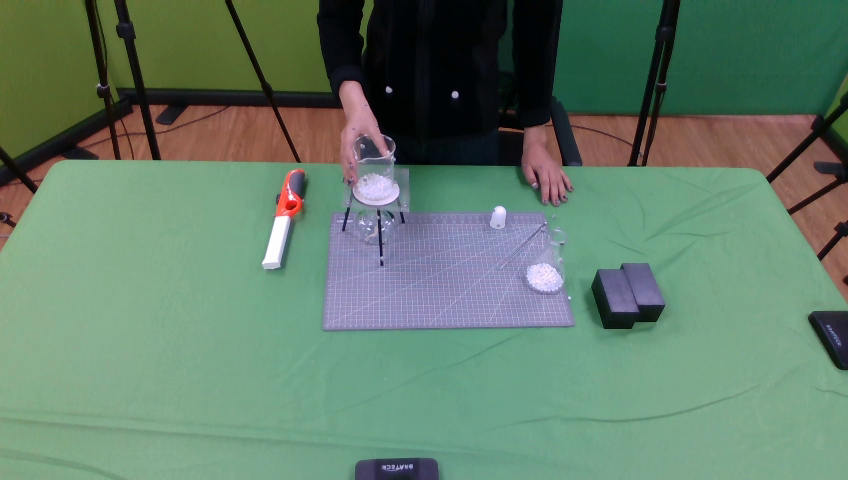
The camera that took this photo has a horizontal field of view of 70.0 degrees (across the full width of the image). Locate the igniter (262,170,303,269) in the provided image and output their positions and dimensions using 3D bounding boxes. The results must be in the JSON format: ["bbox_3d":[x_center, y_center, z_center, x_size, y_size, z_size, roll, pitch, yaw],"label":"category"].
[{"bbox_3d":[-0.283,-0.050,1.222,0.057,0.025,0.275,-4,45,6],"label":"igniter"}]

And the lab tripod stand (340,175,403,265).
[{"bbox_3d":[-0.094,-0.050,1.160,0.148,0.132,0.147,2,44,-2],"label":"lab tripod stand"}]

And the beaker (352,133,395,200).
[{"bbox_3d":[-0.091,-0.126,1.074,0.074,0.101,0.084,26,48,21],"label":"beaker"}]

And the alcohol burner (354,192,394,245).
[{"bbox_3d":[-0.096,-0.048,1.171,0.078,0.119,0.077,4,45,-4],"label":"alcohol burner"}]

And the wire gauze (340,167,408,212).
[{"bbox_3d":[-0.091,-0.095,1.111,0.125,0.011,0.120,1,43,-2],"label":"wire gauze"}]

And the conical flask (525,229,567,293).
[{"bbox_3d":[0.231,0.036,1.110,0.075,0.122,0.075,2,46,-2],"label":"conical flask"}]

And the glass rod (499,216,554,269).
[{"bbox_3d":[0.208,0.002,1.219,0.008,0.008,0.199,32,52,25],"label":"glass rod"}]

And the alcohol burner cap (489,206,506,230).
[{"bbox_3d":[0.152,-0.047,1.241,0.034,0.048,0.033,2,45,-2],"label":"alcohol burner cap"}]
